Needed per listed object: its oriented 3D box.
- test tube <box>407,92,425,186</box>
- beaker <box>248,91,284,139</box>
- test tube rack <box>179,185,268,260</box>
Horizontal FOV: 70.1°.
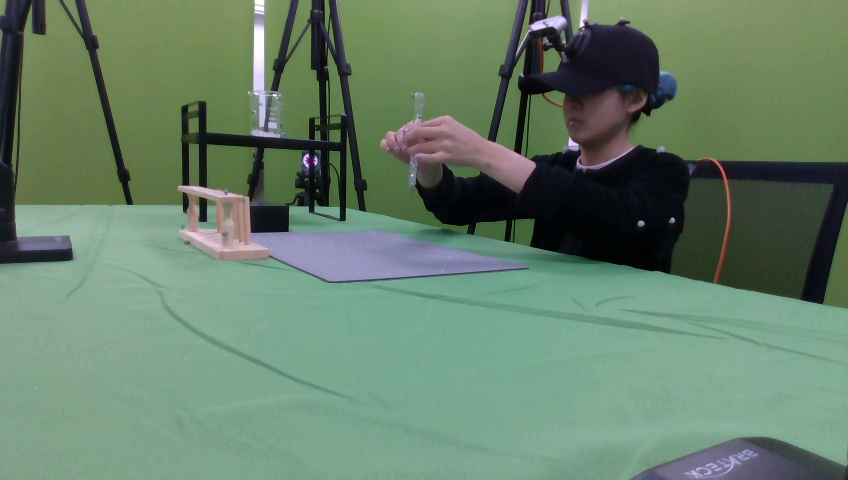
[{"bbox_3d":[-0.012,-0.161,0.975,0.017,0.150,0.017,6,7,0],"label":"test tube"},{"bbox_3d":[-0.353,-0.277,1.343,0.073,0.100,0.084,8,9,39],"label":"beaker"},{"bbox_3d":[-0.303,-0.031,0.898,0.067,0.085,0.241,-2,9,-33],"label":"test tube rack"}]
